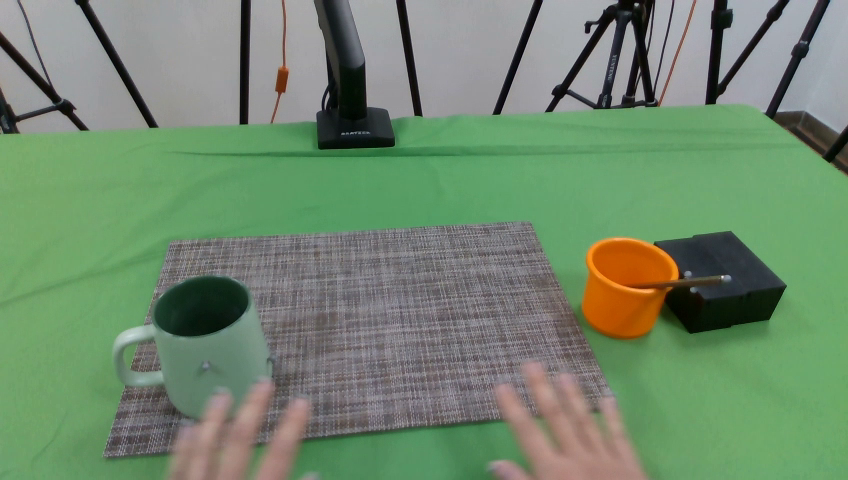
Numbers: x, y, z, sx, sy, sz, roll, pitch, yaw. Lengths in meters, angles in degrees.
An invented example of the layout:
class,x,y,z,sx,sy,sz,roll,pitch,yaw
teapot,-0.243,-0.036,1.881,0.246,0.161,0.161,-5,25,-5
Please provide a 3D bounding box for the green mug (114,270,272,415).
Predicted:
class,x,y,z,sx,sy,sz,roll,pitch,yaw
green mug,-0.200,0.094,0.527,0.125,0.106,0.091,-10,40,-16

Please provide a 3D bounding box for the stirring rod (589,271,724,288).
class,x,y,z,sx,sy,sz,roll,pitch,yaw
stirring rod,0.222,0.040,0.601,0.014,0.006,0.175,-13,-2,-23
